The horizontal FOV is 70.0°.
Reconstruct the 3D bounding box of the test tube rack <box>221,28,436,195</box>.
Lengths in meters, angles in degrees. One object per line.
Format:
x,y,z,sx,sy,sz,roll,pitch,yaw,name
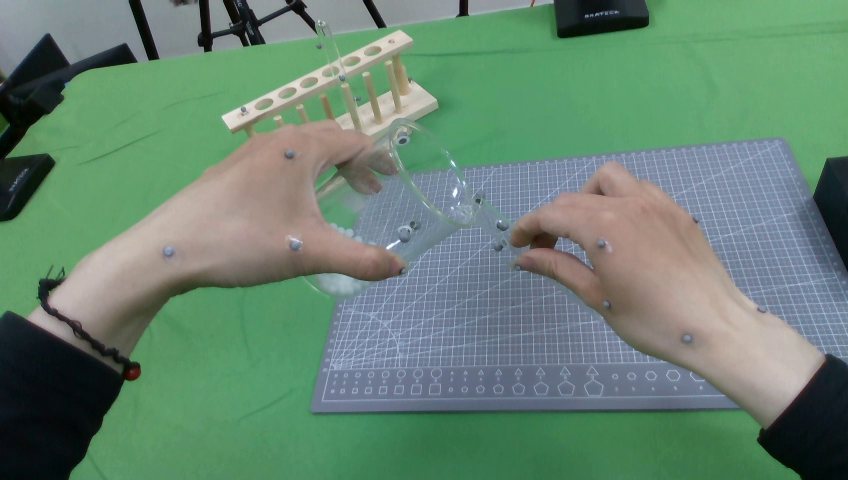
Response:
-0.110,-0.158,0.735,0.242,0.086,0.066,-30,49,-13,test tube rack

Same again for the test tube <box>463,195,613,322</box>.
0.082,0.017,0.413,0.017,0.151,0.017,-38,31,28,test tube

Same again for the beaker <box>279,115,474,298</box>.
-0.030,-0.015,0.367,0.100,0.085,0.073,-33,51,26,beaker

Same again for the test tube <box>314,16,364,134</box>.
-0.096,-0.185,0.695,0.017,0.152,0.017,-8,46,9,test tube
